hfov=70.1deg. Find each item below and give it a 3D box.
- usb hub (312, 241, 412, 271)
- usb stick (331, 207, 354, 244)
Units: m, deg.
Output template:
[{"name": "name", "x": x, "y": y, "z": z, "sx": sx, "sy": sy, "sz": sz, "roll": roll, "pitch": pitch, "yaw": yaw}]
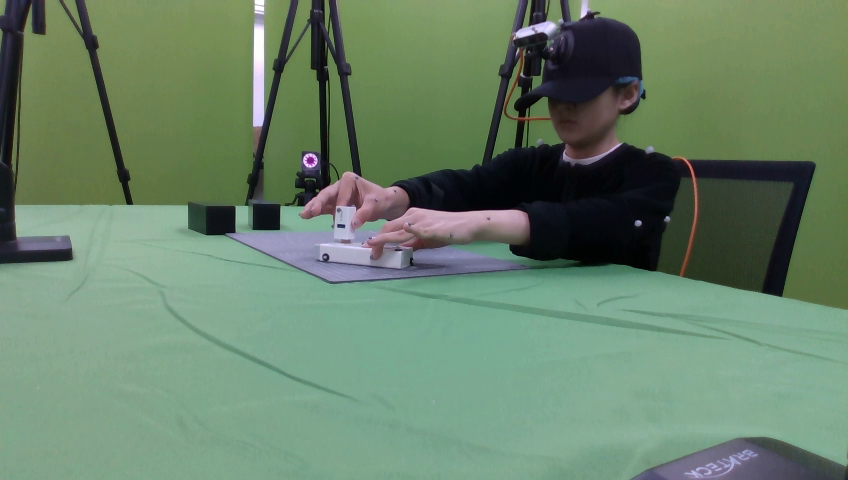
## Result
[{"name": "usb hub", "x": -0.082, "y": 0.020, "z": 0.803, "sx": 0.125, "sy": 0.025, "sz": 0.049, "roll": 5, "pitch": 8, "yaw": 17}, {"name": "usb stick", "x": -0.110, "y": -0.015, "z": 0.813, "sx": 0.021, "sy": 0.059, "sz": 0.027, "roll": 7, "pitch": 7, "yaw": 16}]
